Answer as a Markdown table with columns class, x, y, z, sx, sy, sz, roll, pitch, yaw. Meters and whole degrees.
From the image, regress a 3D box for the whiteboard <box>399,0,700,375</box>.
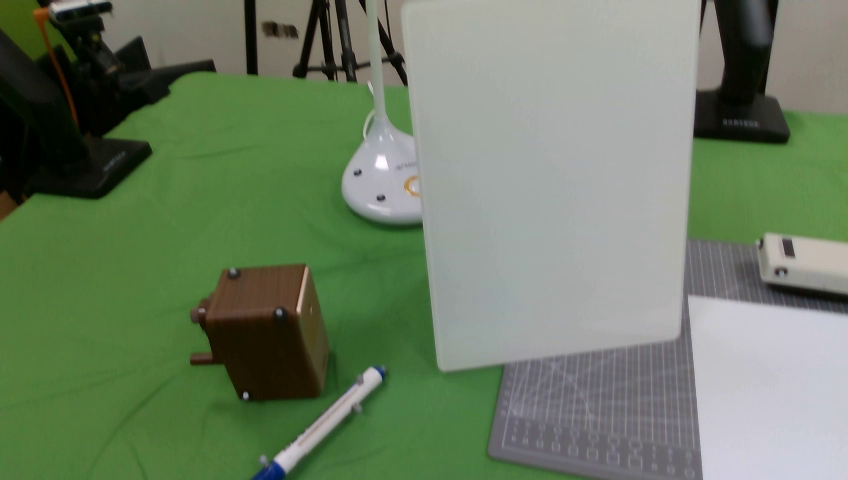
| class | x | y | z | sx | sy | sz | roll | pitch | yaw |
| --- | --- | --- | --- | --- | --- | --- | --- | --- | --- |
| whiteboard | 0.099 | -0.063 | 0.535 | 0.217 | 0.307 | 0.143 | -7 | 21 | -3 |

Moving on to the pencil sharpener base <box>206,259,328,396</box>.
| class | x | y | z | sx | sy | sz | roll | pitch | yaw |
| --- | --- | --- | --- | --- | --- | --- | --- | --- | --- |
| pencil sharpener base | -0.127 | 0.074 | 0.499 | 0.077 | 0.108 | 0.061 | -4 | 41 | 1 |

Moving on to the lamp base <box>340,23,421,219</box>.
| class | x | y | z | sx | sy | sz | roll | pitch | yaw |
| --- | --- | --- | --- | --- | --- | --- | --- | --- | --- |
| lamp base | -0.033 | -0.142 | 0.691 | 0.161 | 0.182 | 0.177 | -25 | 42 | -23 |

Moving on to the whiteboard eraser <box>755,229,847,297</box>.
| class | x | y | z | sx | sy | sz | roll | pitch | yaw |
| --- | --- | --- | --- | --- | --- | --- | --- | --- | --- |
| whiteboard eraser | 0.374 | 0.024 | 0.567 | 0.112 | 0.042 | 0.055 | 10 | 43 | 15 |

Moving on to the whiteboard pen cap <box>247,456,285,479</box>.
| class | x | y | z | sx | sy | sz | roll | pitch | yaw |
| --- | --- | --- | --- | --- | --- | --- | --- | --- | --- |
| whiteboard pen cap | -0.117 | 0.175 | 0.443 | 0.018 | 0.018 | 0.033 | 25 | 44 | 30 |

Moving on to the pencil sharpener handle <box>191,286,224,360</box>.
| class | x | y | z | sx | sy | sz | roll | pitch | yaw |
| --- | --- | --- | --- | --- | --- | --- | --- | --- | --- |
| pencil sharpener handle | -0.179 | 0.070 | 0.489 | 0.030 | 0.068 | 0.035 | -4 | 28 | 1 |

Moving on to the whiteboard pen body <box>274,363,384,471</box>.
| class | x | y | z | sx | sy | sz | roll | pitch | yaw |
| --- | --- | --- | --- | --- | --- | --- | --- | --- | --- |
| whiteboard pen body | -0.081 | 0.146 | 0.480 | 0.017 | 0.017 | 0.140 | 25 | 46 | 30 |
